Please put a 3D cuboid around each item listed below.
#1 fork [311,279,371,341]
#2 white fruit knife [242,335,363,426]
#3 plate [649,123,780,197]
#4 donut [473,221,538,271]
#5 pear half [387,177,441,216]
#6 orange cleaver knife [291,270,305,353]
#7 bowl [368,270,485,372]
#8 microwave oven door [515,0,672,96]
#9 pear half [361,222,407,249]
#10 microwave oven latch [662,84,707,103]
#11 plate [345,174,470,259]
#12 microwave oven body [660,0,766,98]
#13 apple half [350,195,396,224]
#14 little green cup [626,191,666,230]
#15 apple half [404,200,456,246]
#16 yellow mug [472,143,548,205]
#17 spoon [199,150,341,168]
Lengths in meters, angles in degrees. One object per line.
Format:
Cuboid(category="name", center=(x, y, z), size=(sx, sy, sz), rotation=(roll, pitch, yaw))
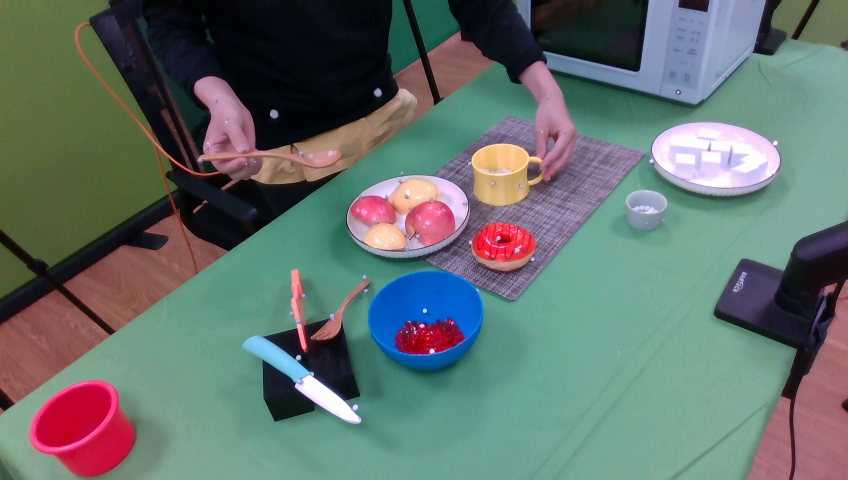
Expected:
Cuboid(category="fork", center=(-0.108, 0.092, 0.832), size=(0.028, 0.019, 0.207), rotation=(-6, 19, 15))
Cuboid(category="white fruit knife", center=(-0.148, 0.167, 0.730), size=(0.206, 0.016, 0.027), rotation=(26, 80, 31))
Cuboid(category="plate", center=(0.497, -0.135, 1.046), size=(0.207, 0.039, 0.206), rotation=(-4, 40, 4))
Cuboid(category="donut", center=(0.123, 0.008, 0.923), size=(0.099, 0.048, 0.098), rotation=(-3, 38, 3))
Cuboid(category="pear half", center=(-0.029, -0.079, 1.032), size=(0.109, 0.056, 0.076), rotation=(-3, 35, 16))
Cuboid(category="orange cleaver knife", center=(-0.175, 0.094, 0.844), size=(0.012, 0.077, 0.210), rotation=(-11, 14, -10))
Cuboid(category="bowl", center=(0.007, 0.118, 0.791), size=(0.151, 0.077, 0.150), rotation=(-5, 40, 4))
Cuboid(category="microwave oven door", center=(0.343, -0.455, 1.259), size=(0.353, 0.245, 0.039), rotation=(26, 51, 33))
Cuboid(category="pear half", center=(-0.063, -0.012, 0.958), size=(0.071, 0.031, 0.087), rotation=(2, 24, -25))
Cuboid(category="microwave oven latch", center=(0.517, -0.296, 1.204), size=(0.078, 0.029, 0.030), rotation=(27, 52, 35))
Cuboid(category="plate", center=(-0.026, -0.037, 1.004), size=(0.209, 0.038, 0.208), rotation=(-4, 40, 4))
Cuboid(category="microwave oven body", center=(0.472, -0.513, 1.317), size=(0.438, 0.261, 0.327), rotation=(26, 51, 34))
Cuboid(category="apple half", center=(-0.080, -0.056, 1.008), size=(0.081, 0.033, 0.081), rotation=(10, 24, -4))
Cuboid(category="little green cup", center=(0.352, -0.046, 0.963), size=(0.061, 0.039, 0.061), rotation=(-4, 40, 4))
Cuboid(category="apple half", center=(0.010, -0.035, 0.969), size=(0.075, 0.053, 0.080), rotation=(-27, 40, -22))
Cuboid(category="yellow mug", center=(0.149, -0.117, 1.050), size=(0.131, 0.064, 0.099), rotation=(-5, 40, 1))
Cuboid(category="spoon", center=(-0.216, -0.117, 0.851), size=(0.194, 0.022, 0.041), rotation=(1, 42, -10))
